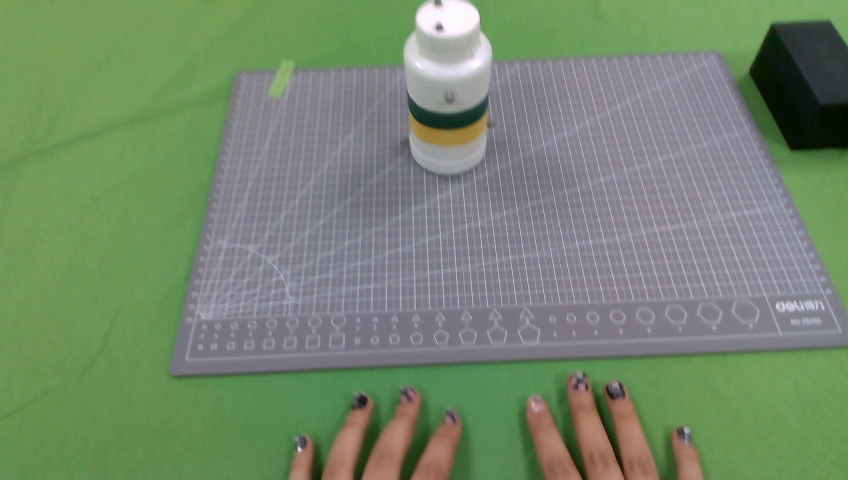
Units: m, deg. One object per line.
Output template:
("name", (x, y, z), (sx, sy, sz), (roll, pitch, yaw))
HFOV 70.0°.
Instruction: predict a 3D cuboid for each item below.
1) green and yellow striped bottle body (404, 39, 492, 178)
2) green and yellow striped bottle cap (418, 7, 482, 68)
("green and yellow striped bottle body", (0.018, -0.108, 0.455), (0.063, 0.121, 0.062), (-1, 54, 2))
("green and yellow striped bottle cap", (0.018, -0.139, 0.413), (0.045, 0.020, 0.045), (-2, 55, 3))
